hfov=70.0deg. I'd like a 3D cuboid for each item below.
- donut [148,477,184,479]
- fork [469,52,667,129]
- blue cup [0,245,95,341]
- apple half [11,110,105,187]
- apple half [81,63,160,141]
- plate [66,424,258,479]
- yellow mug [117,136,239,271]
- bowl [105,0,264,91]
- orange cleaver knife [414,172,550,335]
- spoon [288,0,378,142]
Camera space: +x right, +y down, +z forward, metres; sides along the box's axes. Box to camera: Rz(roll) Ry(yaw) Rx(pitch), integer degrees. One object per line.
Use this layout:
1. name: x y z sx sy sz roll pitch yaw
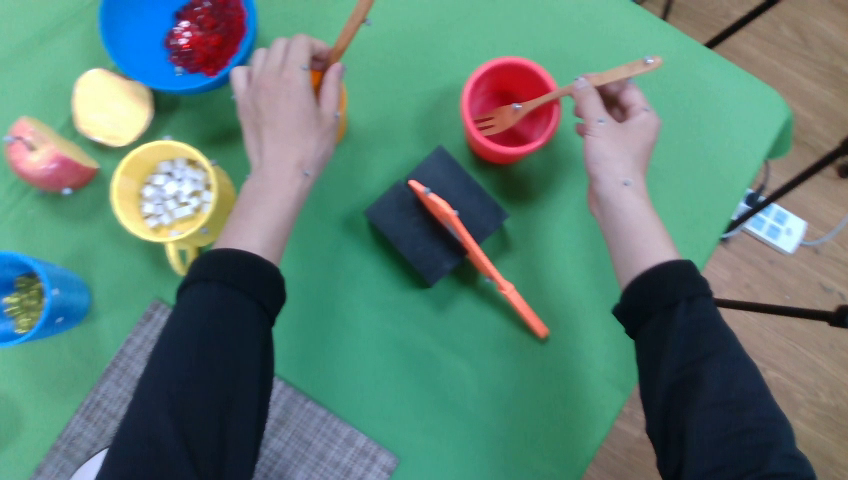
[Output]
1. donut: -0.249 0.276 0.578 0.099 0.048 0.099 0 86 0
2. fork: 0.130 -0.143 0.587 0.206 0.019 0.028 -12 71 41
3. blue cup: -0.370 0.052 0.582 0.093 0.100 0.092 0 85 -3
4. apple half: -0.372 -0.083 0.609 0.081 0.074 0.053 39 89 -1
5. apple half: -0.316 -0.142 0.635 0.081 0.032 0.081 -1 99 -9
6. plate: -0.252 0.282 0.589 0.209 0.038 0.208 0 85 -1
7. yellow mug: -0.242 -0.033 0.609 0.100 0.064 0.130 -8 85 -2
8. bowl: -0.232 -0.217 0.622 0.151 0.077 0.151 0 85 -1
9. orange cleaver knife: 0.059 0.016 0.604 0.012 0.076 0.213 -41 116 -3
10. spoon: -0.086 -0.163 0.577 0.041 0.194 0.021 50 46 6
